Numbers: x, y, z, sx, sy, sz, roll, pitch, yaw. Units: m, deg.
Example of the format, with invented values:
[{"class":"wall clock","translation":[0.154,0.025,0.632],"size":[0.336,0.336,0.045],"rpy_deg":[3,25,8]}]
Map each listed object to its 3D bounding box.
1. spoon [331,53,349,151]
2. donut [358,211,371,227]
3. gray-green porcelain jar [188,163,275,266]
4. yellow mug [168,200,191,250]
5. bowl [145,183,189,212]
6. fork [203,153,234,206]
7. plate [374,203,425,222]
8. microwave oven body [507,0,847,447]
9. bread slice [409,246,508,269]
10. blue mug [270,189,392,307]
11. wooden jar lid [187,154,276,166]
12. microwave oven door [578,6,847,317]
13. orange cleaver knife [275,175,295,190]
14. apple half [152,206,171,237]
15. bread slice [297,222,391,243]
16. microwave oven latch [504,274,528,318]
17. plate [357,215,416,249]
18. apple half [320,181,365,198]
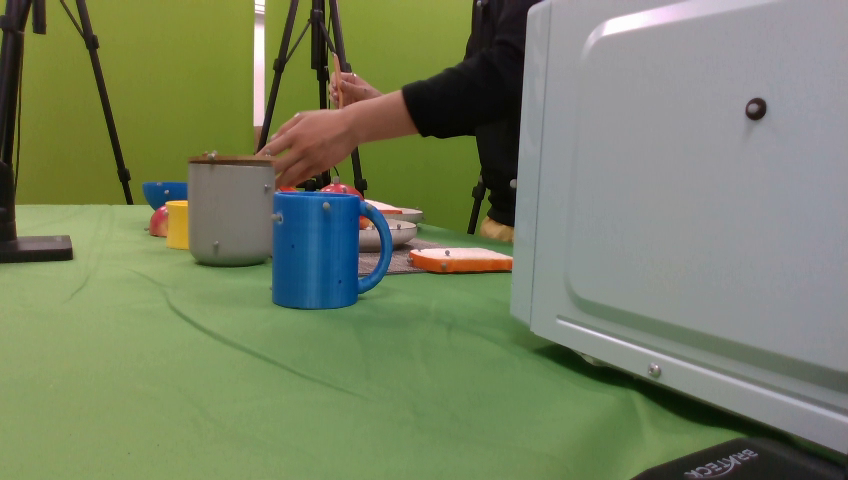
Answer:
[{"class":"spoon","translation":[-0.161,-0.263,1.150],"size":[0.021,0.193,0.042],"rpy_deg":[-5,-5,29]},{"class":"donut","translation":[-0.132,-0.041,0.959],"size":[0.099,0.048,0.099],"rpy_deg":[3,8,0]},{"class":"gray-green porcelain jar","translation":[-0.246,-0.034,0.780],"size":[0.106,0.126,0.106],"rpy_deg":[1,7,0]},{"class":"yellow mug","translation":[-0.320,-0.023,0.904],"size":[0.130,0.064,0.100],"rpy_deg":[8,10,36]},{"class":"bowl","translation":[-0.459,-0.069,1.175],"size":[0.151,0.077,0.151],"rpy_deg":[3,7,0]},{"class":"fork","translation":[-0.480,-0.136,1.412],"size":[0.028,0.018,0.207],"rpy_deg":[0,-34,-1]},{"class":"plate","translation":[-0.102,-0.053,1.299],"size":[0.209,0.038,0.209],"rpy_deg":[2,8,0]},{"class":"microwave oven body","translation":[0.331,-0.042,0.425],"size":[0.444,0.260,0.324],"rpy_deg":[-2,8,-31]},{"class":"bread slice","translation":[0.048,0.022,0.816],"size":[0.132,0.019,0.104],"rpy_deg":[0,6,-24]},{"class":"blue mug","translation":[-0.090,0.005,0.588],"size":[0.117,0.106,0.082],"rpy_deg":[1,7,-11]},{"class":"wooden jar lid","translation":[-0.244,-0.097,0.771],"size":[0.108,0.020,0.108],"rpy_deg":[-1,7,0]},{"class":"microwave oven door","translation":[0.294,-0.067,0.570],"size":[0.358,0.243,0.039],"rpy_deg":[-3,9,-31]},{"class":"orange cleaver knife","translation":[-0.283,-0.087,1.343],"size":[0.212,0.077,0.012],"rpy_deg":[24,-16,-41]},{"class":"apple half","translation":[-0.415,-0.034,1.017],"size":[0.081,0.053,0.074],"rpy_deg":[1,10,-8]},{"class":"bread slice","translation":[-0.121,-0.013,0.970],"size":[0.106,0.018,0.135],"rpy_deg":[10,12,41]},{"class":"microwave oven latch","translation":[0.100,0.041,0.471],"size":[0.079,0.029,0.030],"rpy_deg":[-1,7,-28]},{"class":"plate","translation":[-0.116,-0.014,0.967],"size":[0.208,0.039,0.207],"rpy_deg":[2,7,0]},{"class":"apple half","translation":[-0.130,-0.077,0.952],"size":[0.081,0.033,0.081],"rpy_deg":[4,13,-1]}]
